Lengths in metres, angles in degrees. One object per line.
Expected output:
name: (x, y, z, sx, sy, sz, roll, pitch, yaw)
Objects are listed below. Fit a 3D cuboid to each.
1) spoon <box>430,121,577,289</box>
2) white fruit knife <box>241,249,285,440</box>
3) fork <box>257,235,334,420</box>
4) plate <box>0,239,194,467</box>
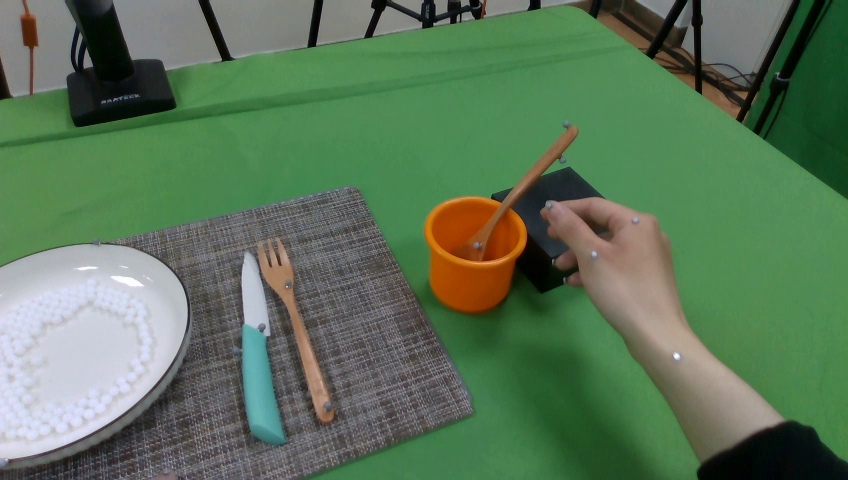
spoon: (0.073, -0.031, 0.551, 0.022, 0.194, 0.041, 23, 20, -51)
white fruit knife: (-0.144, 0.078, 0.519, 0.027, 0.016, 0.205, 16, 34, -33)
fork: (-0.113, 0.067, 0.527, 0.028, 0.019, 0.205, -7, 43, -26)
plate: (-0.290, 0.085, 0.485, 0.209, 0.038, 0.207, 2, 45, -1)
